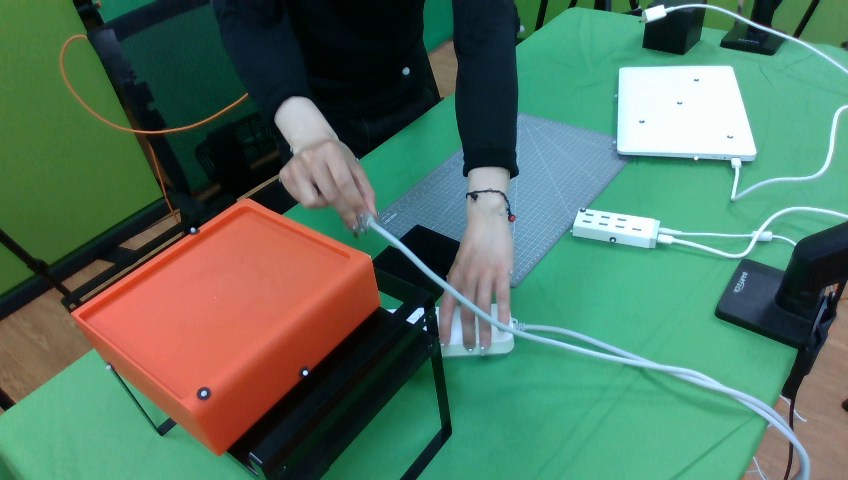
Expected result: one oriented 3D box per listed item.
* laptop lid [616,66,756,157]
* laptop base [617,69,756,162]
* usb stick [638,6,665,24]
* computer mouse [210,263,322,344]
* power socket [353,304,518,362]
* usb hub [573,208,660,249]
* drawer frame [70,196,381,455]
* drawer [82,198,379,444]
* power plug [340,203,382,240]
[{"bbox_3d":[0.503,-0.265,1.196,0.241,0.013,0.356,5,41,16],"label":"laptop lid"},{"bbox_3d":[0.507,-0.256,1.204,0.235,0.023,0.353,3,41,15],"label":"laptop base"},{"bbox_3d":[0.503,-0.499,1.347,0.059,0.027,0.021,-21,5,-2],"label":"usb stick"},{"bbox_3d":[-0.164,0.062,0.625,0.116,0.041,0.063,22,45,27],"label":"computer mouse"},{"bbox_3d":[0.015,0.125,0.815,0.227,0.033,0.072,-3,41,4],"label":"power socket"},{"bbox_3d":[0.301,-0.019,0.949,0.124,0.025,0.049,11,43,20],"label":"usb hub"},{"bbox_3d":[-0.186,0.068,0.597,0.200,0.083,0.214,23,49,30],"label":"drawer frame"},{"bbox_3d":[-0.185,0.065,0.600,0.193,0.073,0.212,24,50,31],"label":"drawer"},{"bbox_3d":[-0.075,-0.012,0.712,0.035,0.053,0.072,-18,48,-13],"label":"power plug"}]
